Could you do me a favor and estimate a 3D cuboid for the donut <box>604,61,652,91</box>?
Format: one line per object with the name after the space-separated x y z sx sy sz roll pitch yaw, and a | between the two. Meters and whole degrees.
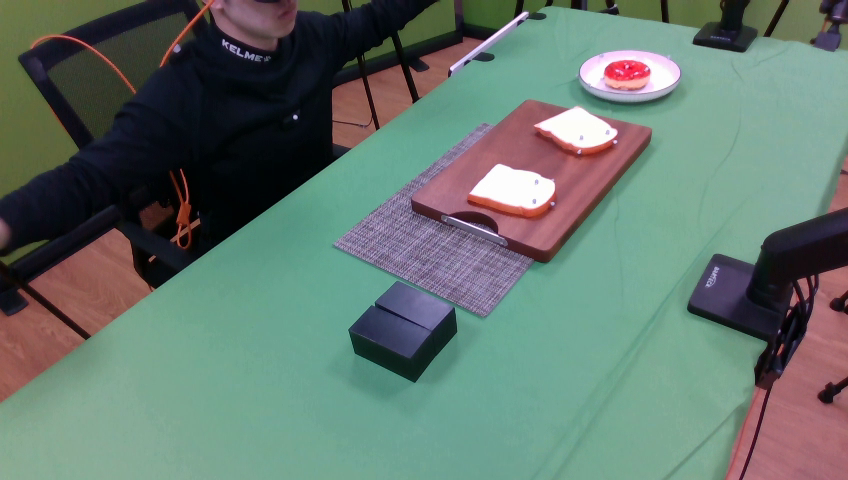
0.432 -0.349 1.285 0.099 0.048 0.098 -4 38 4 | donut

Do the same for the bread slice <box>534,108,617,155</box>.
0.289 -0.200 1.121 0.107 0.018 0.133 -27 43 -22 | bread slice

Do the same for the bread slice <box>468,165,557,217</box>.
0.154 -0.083 1.003 0.130 0.019 0.105 18 48 29 | bread slice

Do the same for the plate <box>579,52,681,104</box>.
0.437 -0.343 1.294 0.209 0.038 0.208 -4 40 4 | plate
